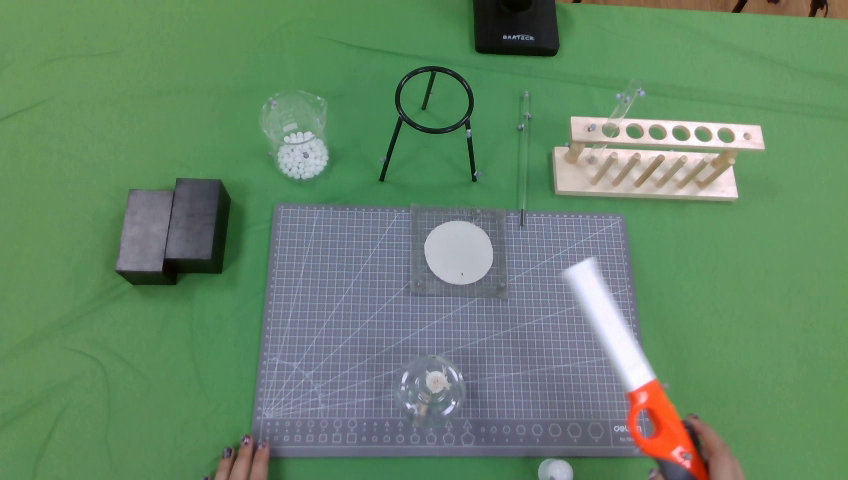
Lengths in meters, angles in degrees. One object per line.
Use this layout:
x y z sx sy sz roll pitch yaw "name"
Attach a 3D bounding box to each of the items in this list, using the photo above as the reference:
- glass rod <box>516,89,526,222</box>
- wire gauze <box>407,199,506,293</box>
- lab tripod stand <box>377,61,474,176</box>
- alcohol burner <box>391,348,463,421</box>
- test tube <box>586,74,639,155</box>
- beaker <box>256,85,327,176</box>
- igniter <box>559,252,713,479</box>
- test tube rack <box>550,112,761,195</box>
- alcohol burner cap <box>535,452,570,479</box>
0.130 -0.116 0.805 0.008 0.008 0.198 6 71 -3 "glass rod"
0.039 0.005 0.752 0.125 0.011 0.120 3 68 -3 "wire gauze"
0.003 -0.145 0.739 0.148 0.132 0.147 1 68 -3 "lab tripod stand"
0.005 0.149 0.639 0.078 0.120 0.077 2 68 -6 "alcohol burner"
0.224 -0.147 0.733 0.017 0.151 0.017 1 66 -3 "test tube"
-0.154 -0.130 0.738 0.084 0.101 0.073 -36 77 -17 "beaker"
0.206 0.141 0.572 0.057 0.025 0.275 -25 84 -13 "igniter"
0.294 -0.109 0.778 0.243 0.085 0.066 2 69 -4 "test tube rack"
0.142 0.246 0.657 0.034 0.048 0.033 1 69 -3 "alcohol burner cap"
